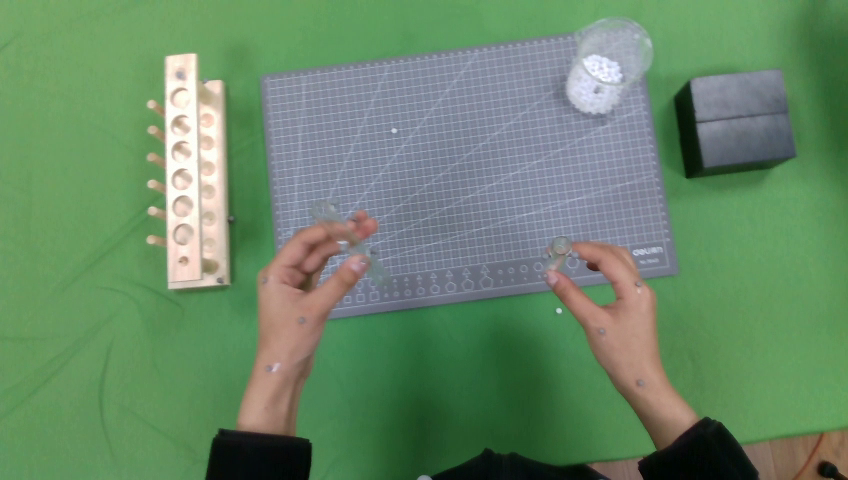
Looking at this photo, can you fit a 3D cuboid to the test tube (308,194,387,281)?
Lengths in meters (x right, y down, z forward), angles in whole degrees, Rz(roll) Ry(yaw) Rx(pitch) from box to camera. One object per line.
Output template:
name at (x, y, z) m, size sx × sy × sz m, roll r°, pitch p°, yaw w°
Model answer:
test tube at (-0.058, 0.003, 0.496) m, size 0.017 × 0.152 × 0.017 m, roll -6°, pitch 65°, yaw 13°

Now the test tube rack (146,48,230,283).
test tube rack at (-0.267, -0.077, 0.671) m, size 0.067 × 0.085 × 0.241 m, roll -5°, pitch 83°, yaw 2°

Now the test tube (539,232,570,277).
test tube at (0.113, 0.015, 0.530) m, size 0.017 × 0.151 × 0.017 m, roll -1°, pitch 78°, yaw 7°

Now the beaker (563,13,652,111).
beaker at (0.191, -0.189, 0.660) m, size 0.084 × 0.100 × 0.074 m, roll 30°, pitch 84°, yaw 7°
